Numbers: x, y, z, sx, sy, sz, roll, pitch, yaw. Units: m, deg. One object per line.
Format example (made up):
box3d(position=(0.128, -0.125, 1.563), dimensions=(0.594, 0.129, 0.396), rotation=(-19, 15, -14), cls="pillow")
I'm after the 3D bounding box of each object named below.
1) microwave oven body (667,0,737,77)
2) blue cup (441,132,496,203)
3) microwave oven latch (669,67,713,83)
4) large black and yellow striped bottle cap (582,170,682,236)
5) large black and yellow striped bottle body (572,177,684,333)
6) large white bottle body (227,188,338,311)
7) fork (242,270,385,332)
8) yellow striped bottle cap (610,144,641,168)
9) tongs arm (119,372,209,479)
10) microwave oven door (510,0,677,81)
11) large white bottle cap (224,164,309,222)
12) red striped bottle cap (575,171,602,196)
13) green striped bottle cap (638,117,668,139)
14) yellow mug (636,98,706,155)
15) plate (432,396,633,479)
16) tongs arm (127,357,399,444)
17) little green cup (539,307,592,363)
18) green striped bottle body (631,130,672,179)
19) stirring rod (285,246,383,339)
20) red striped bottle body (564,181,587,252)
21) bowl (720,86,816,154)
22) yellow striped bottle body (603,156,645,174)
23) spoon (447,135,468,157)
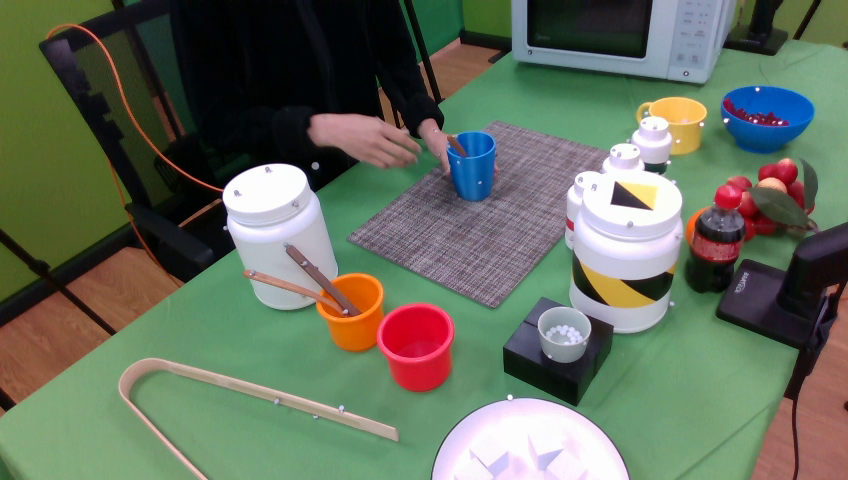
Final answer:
box3d(position=(0.462, -0.552, 1.368), dimensions=(0.439, 0.261, 0.326), rotation=(15, 45, 26), cls="microwave oven body")
box3d(position=(0.083, -0.121, 1.041), dimensions=(0.092, 0.100, 0.092), rotation=(-4, 40, 4), cls="blue cup")
box3d(position=(0.556, -0.349, 1.261), dimensions=(0.078, 0.029, 0.030), rotation=(16, 46, 27), cls="microwave oven latch")
box3d(position=(0.252, -0.048, 0.735), dimensions=(0.115, 0.019, 0.114), rotation=(-3, 40, 3), cls="large black and yellow striped bottle cap")
box3d(position=(0.262, 0.017, 0.788), dimensions=(0.131, 0.185, 0.130), rotation=(-5, 40, 4), cls="large black and yellow striped bottle body")
box3d(position=(-0.207, -0.002, 0.883), dimensions=(0.130, 0.185, 0.130), rotation=(-4, 40, 4), cls="large white bottle body")
box3d(position=(-0.142, 0.082, 0.802), dimensions=(0.209, 0.018, 0.028), rotation=(28, 38, -26), cls="fork")
box3d(position=(0.307, -0.128, 0.923), dimensions=(0.044, 0.019, 0.044), rotation=(-5, 40, 5), cls="yellow striped bottle cap")
box3d(position=(-0.258, 0.257, 0.700), dimensions=(0.384, 0.028, 0.028), rotation=(24, 55, 34), cls="tongs arm")
box3d(position=(0.354, -0.478, 1.290), dimensions=(0.353, 0.245, 0.039), rotation=(15, 45, 25), cls="microwave oven door")
box3d(position=(-0.215, -0.066, 0.829), dimensions=(0.115, 0.018, 0.114), rotation=(-4, 40, 4), cls="large white bottle cap")
box3d(position=(0.242, -0.081, 0.876), dimensions=(0.044, 0.018, 0.044), rotation=(-5, 44, 5), cls="red striped bottle cap")
box3d(position=(0.369, -0.180, 0.974), dimensions=(0.044, 0.020, 0.044), rotation=(-4, 41, 4), cls="green striped bottle cap")
box3d(position=(0.453, -0.218, 1.128), dimensions=(0.100, 0.064, 0.129), rotation=(-34, 46, -27), cls="yellow mug")
box3d(position=(0.112, 0.261, 0.634), dimensions=(0.209, 0.038, 0.208), rotation=(-5, 40, 4), cls="plate")
box3d(position=(-0.213, 0.205, 0.755), dimensions=(0.382, 0.026, 0.051), rotation=(12, 46, 23), cls="tongs arm")
box3d(position=(0.168, 0.115, 0.721), dimensions=(0.061, 0.039, 0.061), rotation=(-4, 42, 4), cls="little green cup")
box3d(position=(0.375, -0.140, 1.007), dimensions=(0.063, 0.120, 0.063), rotation=(-5, 40, 4), cls="green striped bottle body")
box3d(position=(-0.121, 0.071, 0.819), dimensions=(0.176, 0.006, 0.014), rotation=(44, 52, -6), cls="stirring rod")
box3d(position=(0.246, -0.041, 0.910), dimensions=(0.063, 0.120, 0.062), rotation=(-2, 38, 2), cls="red striped bottle body")
box3d(position=(0.605, -0.206, 1.081), dimensions=(0.151, 0.077, 0.150), rotation=(-5, 40, 5), cls="bowl")
box3d(position=(0.313, -0.089, 0.956), dimensions=(0.063, 0.121, 0.062), rotation=(-4, 39, 4), cls="yellow striped bottle body")
box3d(position=(0.067, -0.132, 0.993), dimensions=(0.041, 0.195, 0.021), rotation=(6, 74, 21), cls="spoon")
